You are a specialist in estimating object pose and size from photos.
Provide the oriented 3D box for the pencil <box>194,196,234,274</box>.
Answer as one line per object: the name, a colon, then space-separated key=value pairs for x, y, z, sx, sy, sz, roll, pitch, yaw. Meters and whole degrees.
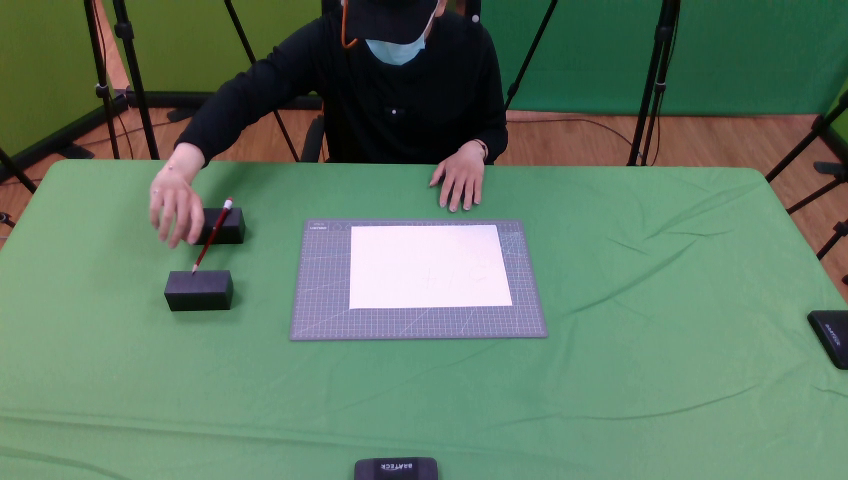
pencil: x=-0.387 y=-0.012 z=1.118 sx=0.012 sy=0.012 sz=0.193 roll=7 pitch=48 yaw=3
